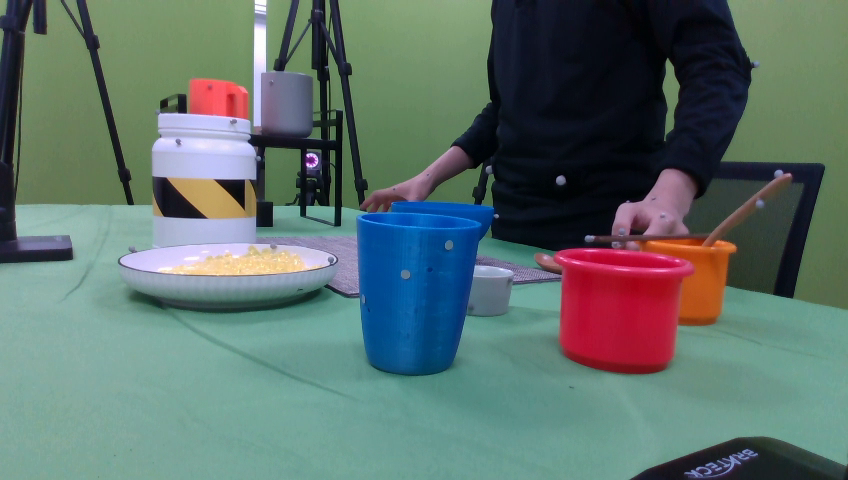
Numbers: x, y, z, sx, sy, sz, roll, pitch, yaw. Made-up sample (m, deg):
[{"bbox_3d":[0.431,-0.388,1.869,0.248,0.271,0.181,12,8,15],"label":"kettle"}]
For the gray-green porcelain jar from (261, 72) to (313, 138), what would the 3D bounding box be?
[{"bbox_3d":[-0.284,-0.276,1.253,0.106,0.126,0.106,2,8,0],"label":"gray-green porcelain jar"}]

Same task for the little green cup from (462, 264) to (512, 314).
[{"bbox_3d":[0.053,0.047,0.580,0.061,0.038,0.061,3,8,0],"label":"little green cup"}]

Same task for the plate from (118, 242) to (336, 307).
[{"bbox_3d":[-0.194,0.033,0.615,0.209,0.038,0.209,2,7,0],"label":"plate"}]

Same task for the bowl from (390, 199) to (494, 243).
[{"bbox_3d":[0.024,-0.015,0.872,0.151,0.077,0.151,3,7,0],"label":"bowl"}]

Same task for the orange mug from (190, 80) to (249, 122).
[{"bbox_3d":[-0.393,-0.257,1.173,0.126,0.100,0.084,1,6,25],"label":"orange mug"}]

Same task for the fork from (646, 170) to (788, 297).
[{"bbox_3d":[0.256,0.004,0.543,0.028,0.018,0.207,3,-36,-9],"label":"fork"}]

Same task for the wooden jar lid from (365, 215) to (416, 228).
[{"bbox_3d":[-0.072,-0.039,1.291,0.108,0.020,0.108,3,8,0],"label":"wooden jar lid"}]

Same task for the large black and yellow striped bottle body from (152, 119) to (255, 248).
[{"bbox_3d":[-0.296,-0.070,0.819,0.131,0.184,0.130,2,7,0],"label":"large black and yellow striped bottle body"}]

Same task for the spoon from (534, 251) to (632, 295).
[{"bbox_3d":[0.194,0.038,0.753,0.042,0.021,0.193,14,2,-20],"label":"spoon"}]

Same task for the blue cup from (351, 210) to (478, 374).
[{"bbox_3d":[-0.009,0.034,0.413,0.093,0.100,0.092,4,8,0],"label":"blue cup"}]

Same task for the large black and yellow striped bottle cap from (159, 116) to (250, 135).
[{"bbox_3d":[-0.292,-0.153,0.810,0.115,0.019,0.115,3,9,0],"label":"large black and yellow striped bottle cap"}]

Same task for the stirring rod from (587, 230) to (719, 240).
[{"bbox_3d":[0.226,-0.005,0.587,0.177,0.006,0.014,-2,9,-29],"label":"stirring rod"}]
